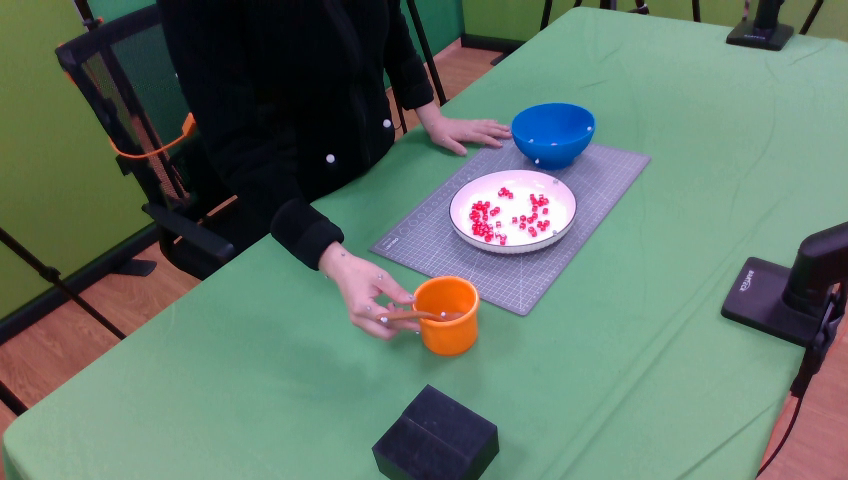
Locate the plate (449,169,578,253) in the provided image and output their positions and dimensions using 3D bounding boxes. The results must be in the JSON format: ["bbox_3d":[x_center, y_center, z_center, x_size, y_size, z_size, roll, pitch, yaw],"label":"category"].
[{"bbox_3d":[0.146,-0.044,0.993,0.209,0.038,0.208,-5,40,5],"label":"plate"}]

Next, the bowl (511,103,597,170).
[{"bbox_3d":[0.237,-0.181,1.107,0.151,0.077,0.150,-6,40,5],"label":"bowl"}]

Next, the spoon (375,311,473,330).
[{"bbox_3d":[0.002,0.099,0.771,0.041,0.195,0.021,26,96,37],"label":"spoon"}]
